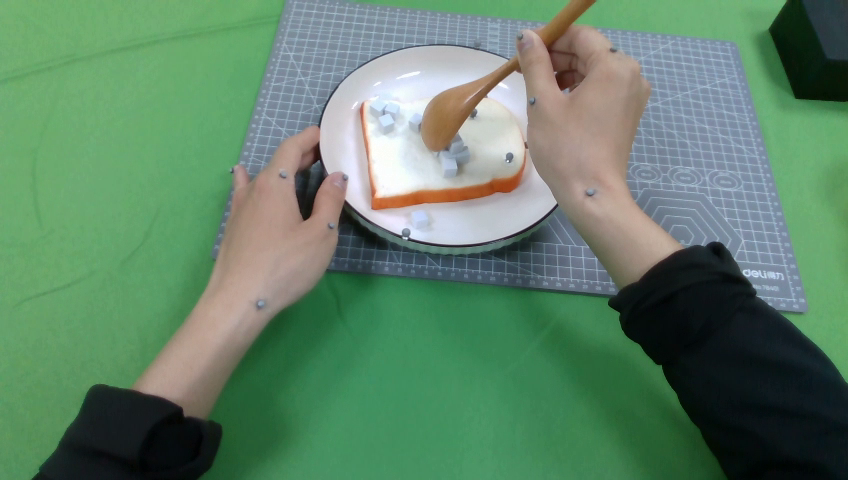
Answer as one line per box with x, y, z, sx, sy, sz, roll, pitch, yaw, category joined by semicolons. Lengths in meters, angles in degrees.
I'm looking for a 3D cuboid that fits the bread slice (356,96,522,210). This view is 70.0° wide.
0.013;-0.078;0.495;0.132;0.019;0.104;-8;61;-8;bread slice

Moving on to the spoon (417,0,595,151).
0.058;-0.125;0.422;0.022;0.194;0.041;9;55;-48;spoon

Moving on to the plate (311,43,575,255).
0.015;-0.074;0.490;0.209;0.038;0.207;2;59;-3;plate
